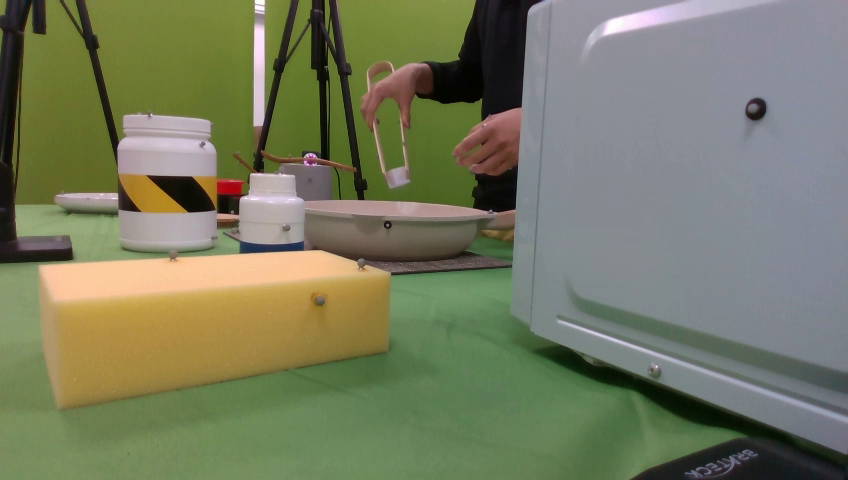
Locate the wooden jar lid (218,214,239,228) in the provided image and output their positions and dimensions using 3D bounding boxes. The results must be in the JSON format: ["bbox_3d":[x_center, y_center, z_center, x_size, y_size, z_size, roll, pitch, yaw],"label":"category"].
[{"bbox_3d":[-0.404,-0.037,1.169,0.108,0.020,0.108,3,7,0],"label":"wooden jar lid"}]

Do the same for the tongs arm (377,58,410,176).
[{"bbox_3d":[-0.066,-0.265,1.252,0.050,0.026,0.383,-16,48,11],"label":"tongs arm"}]

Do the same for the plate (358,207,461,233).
[{"bbox_3d":[-0.030,-0.041,1.214,0.208,0.039,0.207,3,7,0],"label":"plate"}]

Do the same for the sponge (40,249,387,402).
[{"bbox_3d":[-0.142,0.047,0.419,0.208,0.061,0.117,-3,8,-36],"label":"sponge"}]

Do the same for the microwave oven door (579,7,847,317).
[{"bbox_3d":[0.294,-0.067,0.570,0.358,0.243,0.039,-3,9,-31],"label":"microwave oven door"}]

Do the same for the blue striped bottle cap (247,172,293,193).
[{"bbox_3d":[-0.152,-0.057,0.598,0.044,0.020,0.044,3,6,0],"label":"blue striped bottle cap"}]

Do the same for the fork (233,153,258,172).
[{"bbox_3d":[-0.396,-0.144,1.486,0.028,0.018,0.208,20,-26,45],"label":"fork"}]

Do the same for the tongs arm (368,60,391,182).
[{"bbox_3d":[-0.091,-0.257,1.256,0.028,0.028,0.386,-21,47,11],"label":"tongs arm"}]

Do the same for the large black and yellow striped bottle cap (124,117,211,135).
[{"bbox_3d":[-0.366,-0.163,0.866,0.115,0.019,0.115,3,7,0],"label":"large black and yellow striped bottle cap"}]

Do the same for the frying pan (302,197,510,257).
[{"bbox_3d":[0.051,-0.035,0.915,0.487,0.102,0.307,-5,7,11],"label":"frying pan"}]

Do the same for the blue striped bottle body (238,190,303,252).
[{"bbox_3d":[-0.153,-0.007,0.606,0.063,0.120,0.063,2,7,0],"label":"blue striped bottle body"}]

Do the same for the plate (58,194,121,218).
[{"bbox_3d":[-0.671,-0.074,1.310,0.209,0.038,0.209,2,8,0],"label":"plate"}]

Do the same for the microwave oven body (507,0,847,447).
[{"bbox_3d":[0.331,-0.042,0.425,0.444,0.260,0.324,-2,8,-31],"label":"microwave oven body"}]

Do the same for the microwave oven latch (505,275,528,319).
[{"bbox_3d":[0.100,0.041,0.471,0.079,0.029,0.030,-1,7,-28],"label":"microwave oven latch"}]

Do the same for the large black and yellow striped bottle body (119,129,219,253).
[{"bbox_3d":[-0.367,-0.080,0.876,0.131,0.184,0.130,2,7,0],"label":"large black and yellow striped bottle body"}]

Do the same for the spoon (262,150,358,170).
[{"bbox_3d":[-0.229,-0.161,1.222,0.194,0.021,0.041,4,4,-16],"label":"spoon"}]

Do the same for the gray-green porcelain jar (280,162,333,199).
[{"bbox_3d":[-0.238,-0.092,1.221,0.106,0.126,0.106,2,7,0],"label":"gray-green porcelain jar"}]
